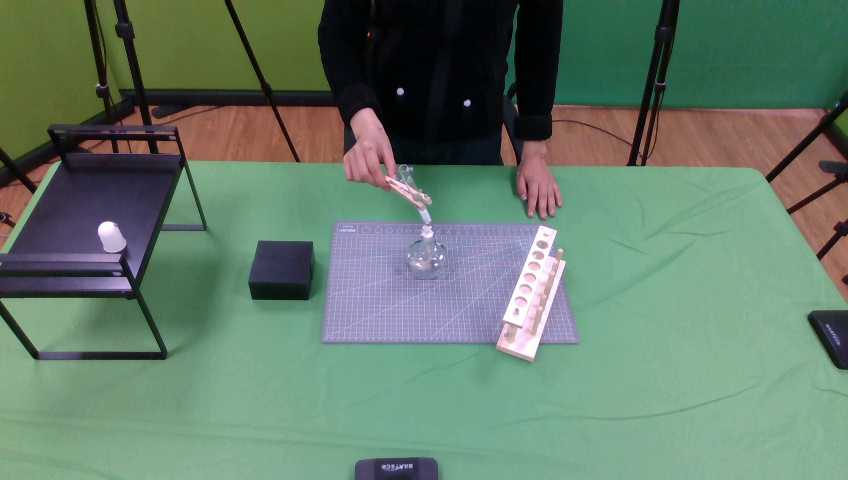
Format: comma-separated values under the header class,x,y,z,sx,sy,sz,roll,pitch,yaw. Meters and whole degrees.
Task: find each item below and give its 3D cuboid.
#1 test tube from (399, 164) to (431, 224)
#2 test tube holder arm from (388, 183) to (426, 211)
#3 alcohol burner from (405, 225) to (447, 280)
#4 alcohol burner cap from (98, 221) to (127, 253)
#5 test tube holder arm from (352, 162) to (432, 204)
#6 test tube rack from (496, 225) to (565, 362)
class,x,y,z,sx,sy,sz,roll,pitch,yaw
test tube,-0.013,-0.072,0.994,0.017,0.151,0.017,-8,56,13
test tube holder arm,-0.030,-0.075,1.011,0.010,0.015,0.087,-44,55,-12
alcohol burner,0.005,0.017,1.115,0.078,0.120,0.077,1,47,-1
alcohol burner cap,-0.468,-0.007,0.905,0.034,0.048,0.033,3,46,-3
test tube holder arm,-0.058,-0.099,1.037,0.177,0.015,0.013,29,70,32
test tube rack,0.200,0.089,1.081,0.066,0.085,0.241,19,48,13
